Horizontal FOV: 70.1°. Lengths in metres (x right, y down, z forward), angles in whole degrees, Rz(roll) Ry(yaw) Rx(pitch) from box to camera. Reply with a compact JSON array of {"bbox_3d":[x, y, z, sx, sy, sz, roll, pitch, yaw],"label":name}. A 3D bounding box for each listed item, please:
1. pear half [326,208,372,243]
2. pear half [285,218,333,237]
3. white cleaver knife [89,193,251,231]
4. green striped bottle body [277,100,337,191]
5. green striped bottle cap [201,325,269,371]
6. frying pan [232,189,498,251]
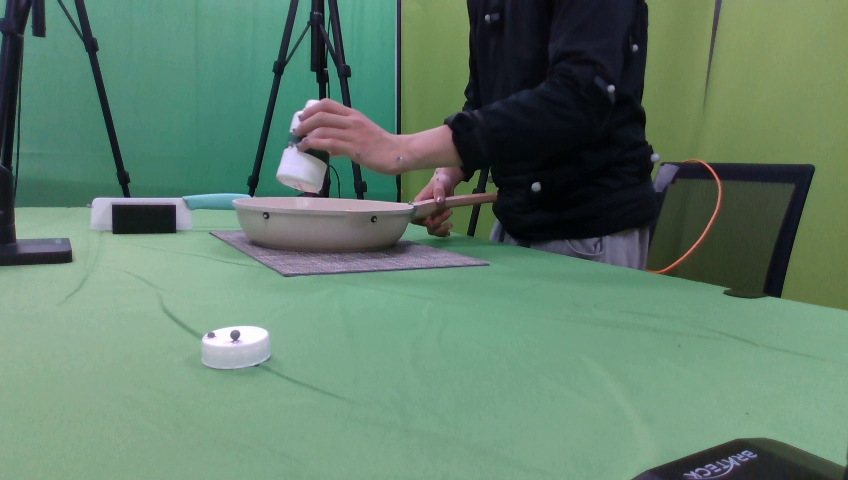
[{"bbox_3d":[-0.128,-0.026,1.017,0.076,0.056,0.109,4,3,-19],"label":"pear half"},{"bbox_3d":[-0.197,-0.022,1.053,0.088,0.031,0.070,-9,18,-44],"label":"pear half"},{"bbox_3d":[-0.454,-0.052,1.114,0.288,0.066,0.021,-4,14,-27],"label":"white cleaver knife"},{"bbox_3d":[-0.161,-0.134,0.849,0.063,0.119,0.063,13,-12,3],"label":"green striped bottle body"},{"bbox_3d":[-0.129,0.073,0.415,0.044,0.020,0.044,2,8,0],"label":"green striped bottle cap"},{"bbox_3d":[-0.073,-0.051,1.048,0.490,0.102,0.305,-11,13,-27],"label":"frying pan"}]
